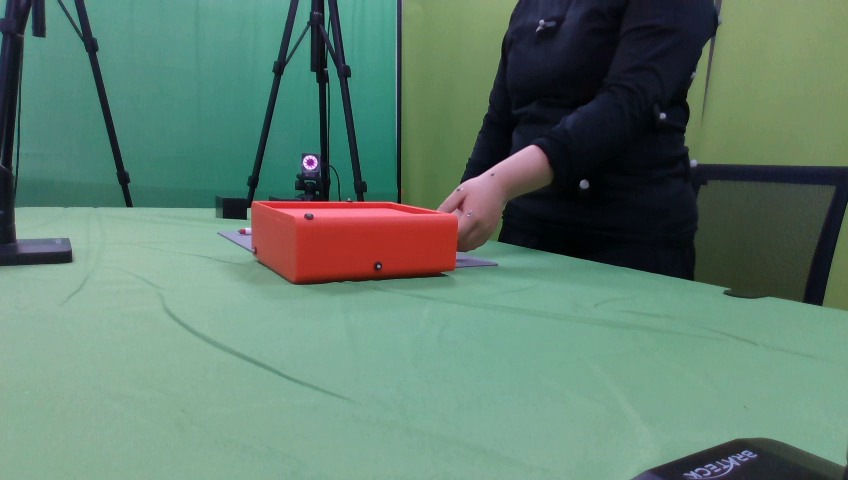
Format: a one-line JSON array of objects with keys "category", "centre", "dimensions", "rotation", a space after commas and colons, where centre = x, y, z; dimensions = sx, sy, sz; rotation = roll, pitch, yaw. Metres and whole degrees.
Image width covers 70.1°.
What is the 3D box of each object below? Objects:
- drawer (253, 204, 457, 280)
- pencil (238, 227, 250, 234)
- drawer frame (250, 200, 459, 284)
[{"category": "drawer", "centre": [-0.095, -0.003, 0.790], "dimensions": [0.213, 0.073, 0.193], "rotation": [-3, 10, -30]}, {"category": "pencil", "centre": [-0.241, -0.015, 1.105], "dimensions": [0.195, 0.012, 0.012], "rotation": [1, 7, -29]}, {"category": "drawer frame", "centre": [-0.095, -0.005, 0.788], "dimensions": [0.215, 0.082, 0.200], "rotation": [-3, 10, -30]}]
